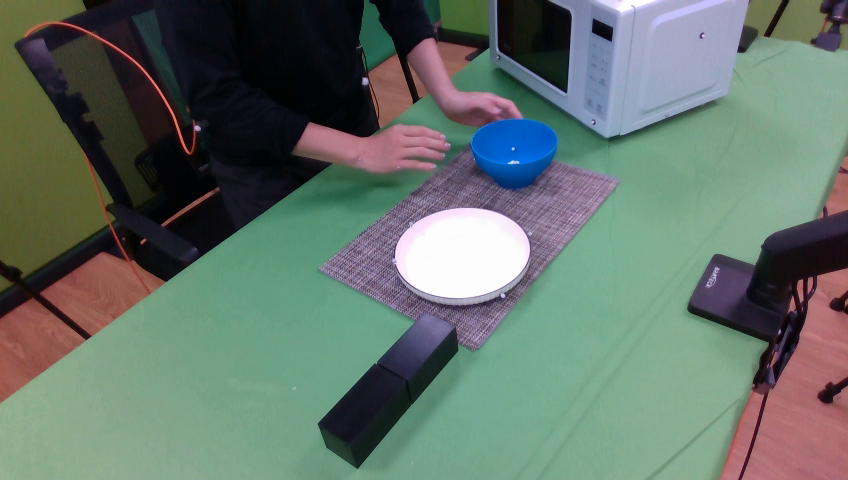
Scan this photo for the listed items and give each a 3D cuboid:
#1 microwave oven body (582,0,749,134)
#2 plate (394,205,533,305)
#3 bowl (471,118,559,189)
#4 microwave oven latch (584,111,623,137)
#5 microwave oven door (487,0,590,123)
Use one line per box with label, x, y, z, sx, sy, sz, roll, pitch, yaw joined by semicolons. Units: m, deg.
microwave oven body;0.382;-0.445;1.246;0.327;0.261;0.437;-22;42;-16
plate;0.059;0.025;0.915;0.207;0.039;0.206;-4;41;4
bowl;0.160;-0.144;1.066;0.151;0.077;0.150;-4;41;4
microwave oven latch;0.337;-0.222;1.142;0.030;0.029;0.078;-21;42;-14
microwave oven door;0.232;-0.420;1.231;0.039;0.245;0.352;-22;43;-16
